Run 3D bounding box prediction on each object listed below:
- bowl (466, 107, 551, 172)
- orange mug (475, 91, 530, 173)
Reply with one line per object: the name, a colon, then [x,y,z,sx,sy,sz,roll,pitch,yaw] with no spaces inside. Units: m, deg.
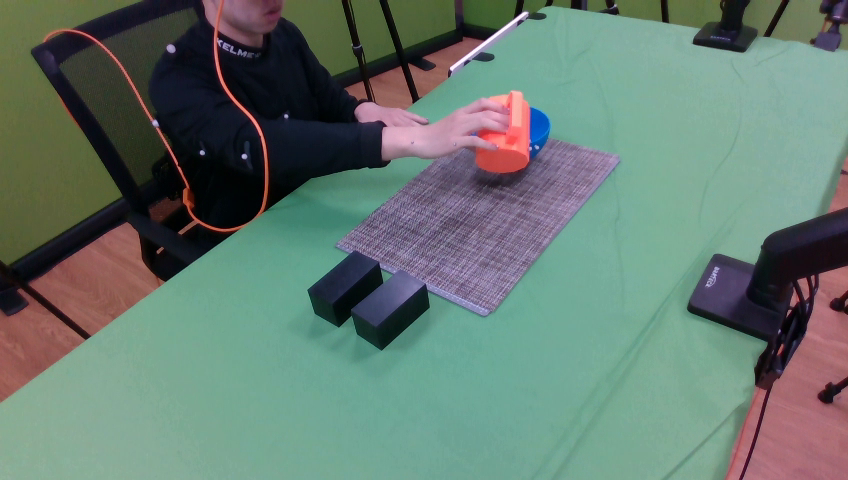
bowl: [0.155,-0.177,1.105,0.151,0.077,0.150,-3,40,3]
orange mug: [0.132,-0.178,0.967,0.084,0.126,0.100,7,65,-8]
